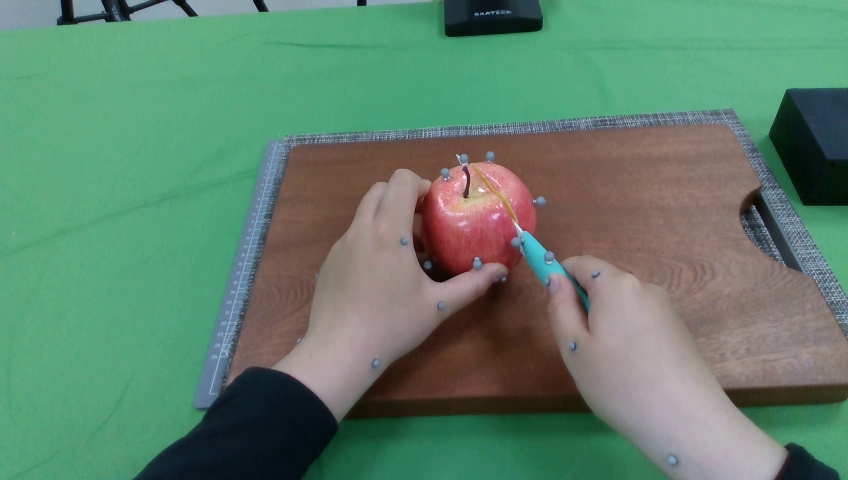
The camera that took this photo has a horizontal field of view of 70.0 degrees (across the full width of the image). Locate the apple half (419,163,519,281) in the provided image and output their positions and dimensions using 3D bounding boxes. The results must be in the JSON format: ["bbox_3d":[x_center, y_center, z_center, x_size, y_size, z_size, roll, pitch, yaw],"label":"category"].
[{"bbox_3d":[0.025,-0.007,0.424,0.053,0.075,0.080,-26,54,-11],"label":"apple half"}]

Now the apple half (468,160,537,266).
[{"bbox_3d":[0.060,-0.022,0.434,0.033,0.082,0.080,-25,49,-14],"label":"apple half"}]

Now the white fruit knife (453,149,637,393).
[{"bbox_3d":[0.068,0.006,0.389,0.016,0.028,0.205,-24,55,-14],"label":"white fruit knife"}]
